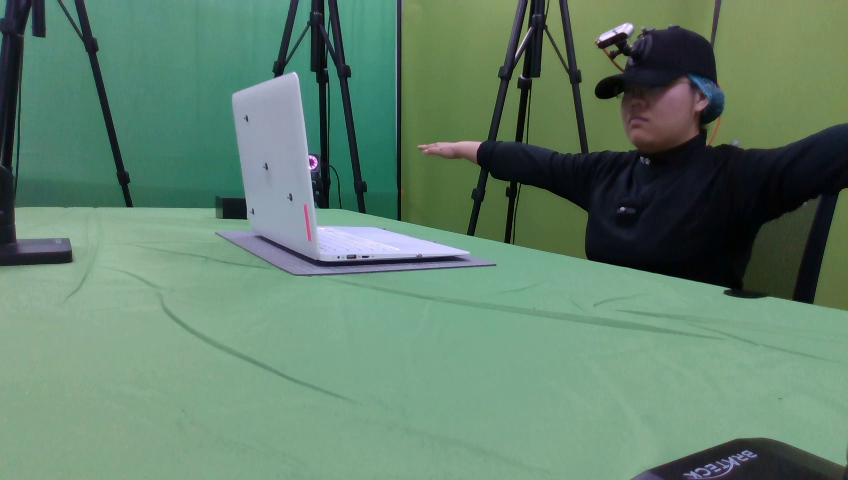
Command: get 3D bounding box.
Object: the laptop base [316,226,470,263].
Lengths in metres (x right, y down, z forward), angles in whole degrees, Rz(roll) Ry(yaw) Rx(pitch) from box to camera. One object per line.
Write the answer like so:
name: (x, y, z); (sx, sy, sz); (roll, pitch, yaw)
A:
laptop base: (-0.116, 0.005, 0.971); (0.237, 0.023, 0.352); (2, 6, -30)

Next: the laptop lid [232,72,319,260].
laptop lid: (-0.229, -0.109, 0.888); (0.013, 0.241, 0.355); (-10, 14, -28)
